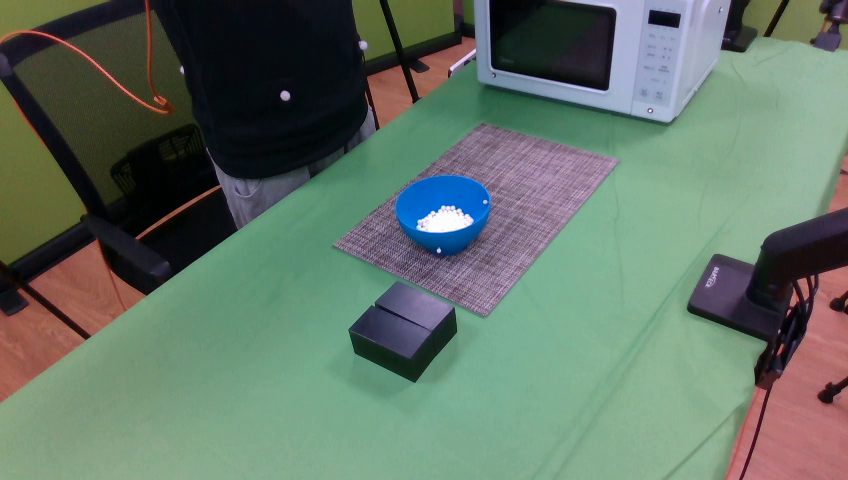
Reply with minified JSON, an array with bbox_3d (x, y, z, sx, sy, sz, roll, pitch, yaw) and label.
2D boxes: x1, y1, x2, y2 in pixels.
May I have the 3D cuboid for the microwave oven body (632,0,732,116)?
[{"bbox_3d":[0.377,-0.463,1.267,0.438,0.261,0.327,21,49,30],"label":"microwave oven body"}]

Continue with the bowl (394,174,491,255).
[{"bbox_3d":[0.032,-0.030,0.949,0.151,0.077,0.150,-4,40,4],"label":"bowl"}]

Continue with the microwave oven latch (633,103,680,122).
[{"bbox_3d":[0.443,-0.249,1.157,0.078,0.029,0.030,21,49,30],"label":"microwave oven latch"}]

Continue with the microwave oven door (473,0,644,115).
[{"bbox_3d":[0.257,-0.396,1.199,0.353,0.245,0.039,21,48,29],"label":"microwave oven door"}]
